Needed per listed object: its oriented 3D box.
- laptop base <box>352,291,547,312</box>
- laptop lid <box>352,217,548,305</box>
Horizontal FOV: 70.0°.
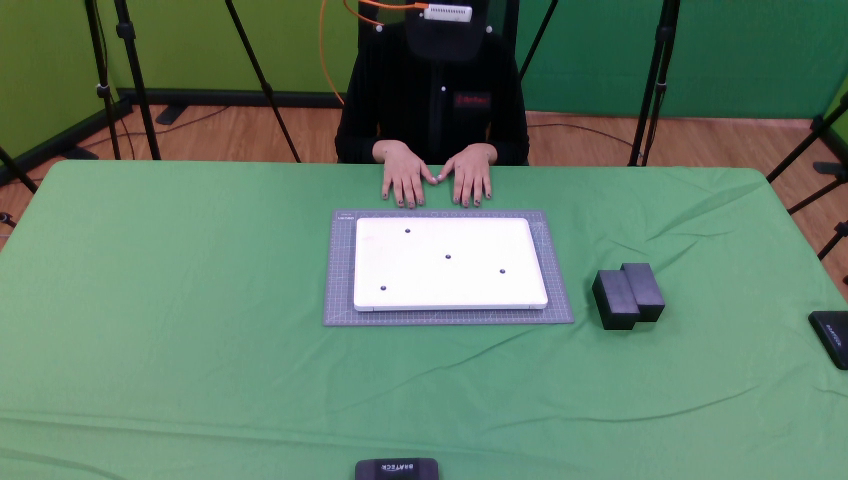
[{"bbox_3d":[0.043,0.044,1.162,0.355,0.023,0.234,0,43,-5],"label":"laptop base"},{"bbox_3d":[0.044,0.034,1.155,0.357,0.013,0.240,1,44,-3],"label":"laptop lid"}]
